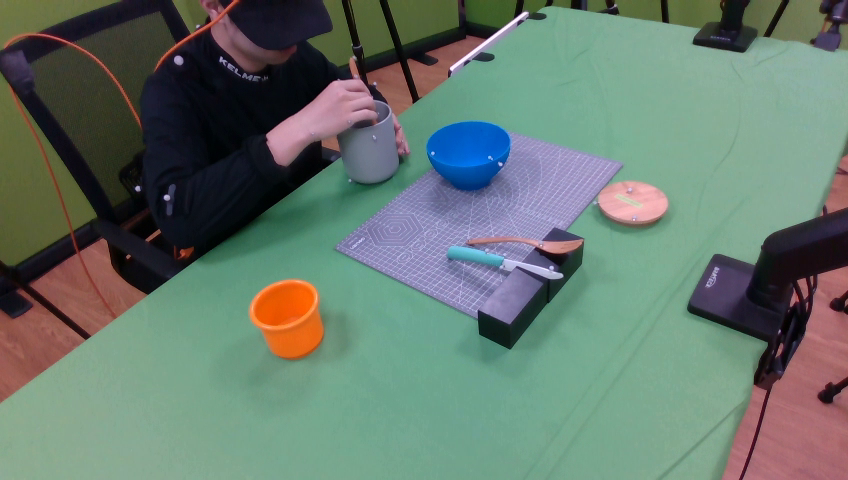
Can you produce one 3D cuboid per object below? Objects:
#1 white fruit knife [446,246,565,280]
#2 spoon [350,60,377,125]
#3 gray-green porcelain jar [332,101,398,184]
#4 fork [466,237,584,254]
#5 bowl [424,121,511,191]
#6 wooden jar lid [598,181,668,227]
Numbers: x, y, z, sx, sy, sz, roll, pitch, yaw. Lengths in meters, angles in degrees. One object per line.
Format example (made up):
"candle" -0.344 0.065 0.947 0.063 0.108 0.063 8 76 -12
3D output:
"white fruit knife" 0.111 0.033 0.868 0.205 0.027 0.016 11 44 40
"spoon" -0.093 -0.222 1.064 0.021 0.195 0.042 2 37 42
"gray-green porcelain jar" -0.105 -0.174 1.108 0.106 0.127 0.105 -4 40 4
"fork" 0.142 0.005 0.894 0.205 0.019 0.028 4 43 41
"bowl" 0.080 -0.141 1.074 0.151 0.077 0.150 -4 40 4
"wooden jar lid" 0.340 -0.057 0.988 0.108 0.021 0.108 -5 41 5
